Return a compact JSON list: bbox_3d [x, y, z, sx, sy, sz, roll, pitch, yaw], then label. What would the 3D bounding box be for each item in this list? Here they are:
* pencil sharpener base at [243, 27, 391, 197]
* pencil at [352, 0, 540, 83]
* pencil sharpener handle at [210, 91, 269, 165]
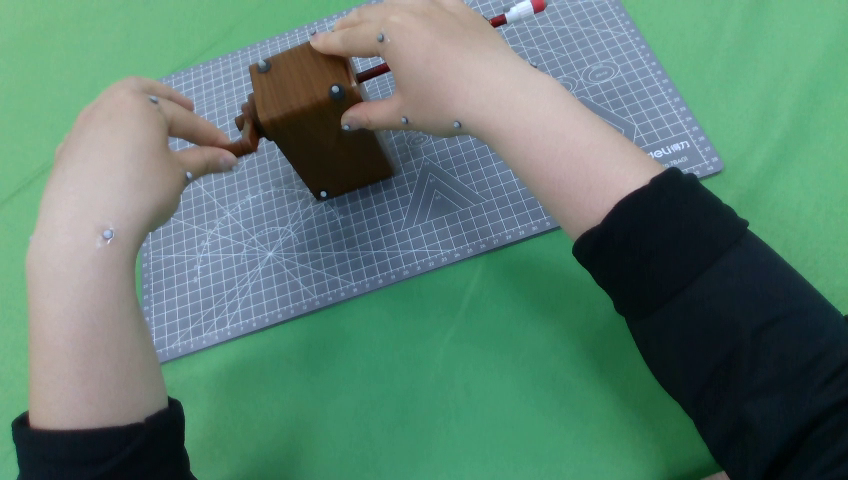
[{"bbox_3d":[-0.079,-0.090,0.456,0.076,0.108,0.061,-22,60,3],"label":"pencil sharpener base"},{"bbox_3d":[-0.009,-0.131,0.427,0.194,0.012,0.012,-22,61,4],"label":"pencil"},{"bbox_3d":[-0.130,-0.075,0.422,0.030,0.036,0.067,-22,35,3],"label":"pencil sharpener handle"}]
